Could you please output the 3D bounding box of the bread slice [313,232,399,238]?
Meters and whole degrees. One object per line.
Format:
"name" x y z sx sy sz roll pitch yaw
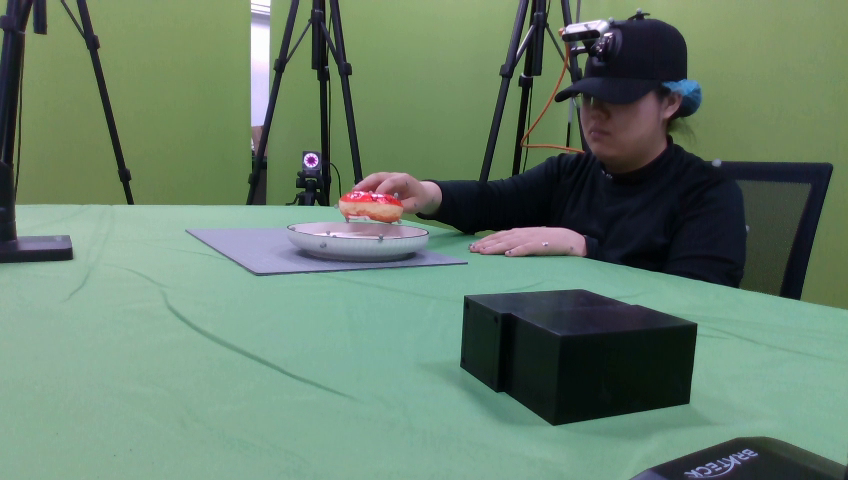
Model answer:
"bread slice" -0.101 0.002 0.884 0.135 0.018 0.106 -3 7 -38

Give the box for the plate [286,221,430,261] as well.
"plate" -0.096 0.001 0.886 0.209 0.038 0.209 2 7 0

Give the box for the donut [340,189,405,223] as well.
"donut" -0.077 -0.049 0.905 0.099 0.048 0.099 6 1 0
